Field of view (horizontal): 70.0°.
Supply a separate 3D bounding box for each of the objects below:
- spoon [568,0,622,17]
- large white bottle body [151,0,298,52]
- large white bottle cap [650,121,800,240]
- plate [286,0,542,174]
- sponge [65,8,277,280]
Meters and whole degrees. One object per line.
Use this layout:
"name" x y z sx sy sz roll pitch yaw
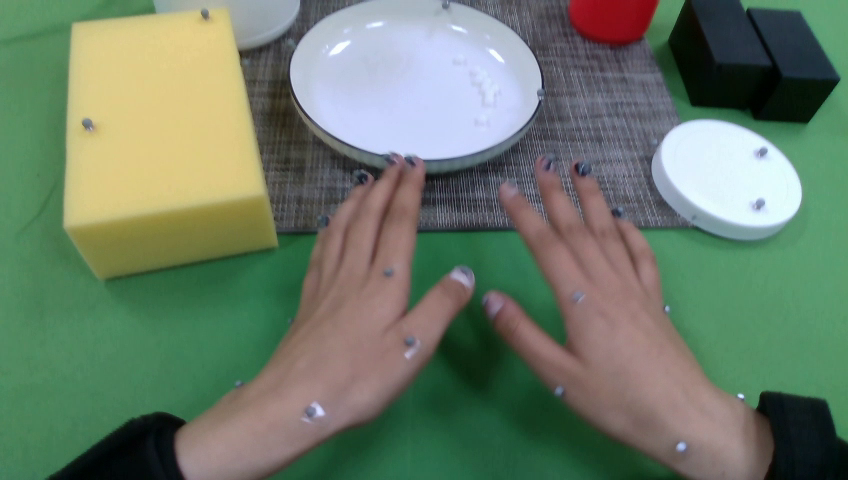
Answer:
"spoon" 0.223 -0.256 0.551 0.193 0.022 0.041 -23 44 34
"large white bottle body" -0.180 -0.268 0.502 0.131 0.186 0.129 2 54 -2
"large white bottle cap" 0.239 -0.050 0.484 0.115 0.018 0.113 4 54 -5
"plate" -0.007 -0.128 0.507 0.209 0.038 0.207 2 54 -3
"sponge" -0.186 -0.080 0.444 0.118 0.061 0.204 -12 56 -13
